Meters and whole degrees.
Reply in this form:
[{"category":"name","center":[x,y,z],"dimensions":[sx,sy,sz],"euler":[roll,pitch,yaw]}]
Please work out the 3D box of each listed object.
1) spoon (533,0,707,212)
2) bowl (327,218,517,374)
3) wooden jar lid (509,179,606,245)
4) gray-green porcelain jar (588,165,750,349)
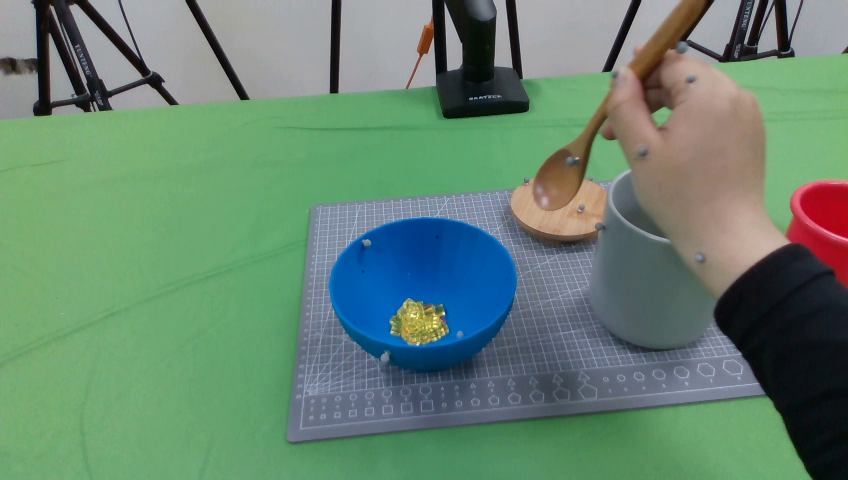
[{"category":"spoon","center":[0.113,-0.076,0.382],"dimensions":[0.022,0.194,0.041],"euler":[-6,65,-16]},{"category":"bowl","center":[0.000,0.057,0.504],"dimensions":[0.151,0.077,0.150],"euler":[-2,41,2]},{"category":"wooden jar lid","center":[0.145,-0.031,0.644],"dimensions":[0.108,0.021,0.107],"euler":[-2,39,2]},{"category":"gray-green porcelain jar","center":[0.194,0.019,0.500],"dimensions":[0.106,0.127,0.105],"euler":[-2,41,2]}]
